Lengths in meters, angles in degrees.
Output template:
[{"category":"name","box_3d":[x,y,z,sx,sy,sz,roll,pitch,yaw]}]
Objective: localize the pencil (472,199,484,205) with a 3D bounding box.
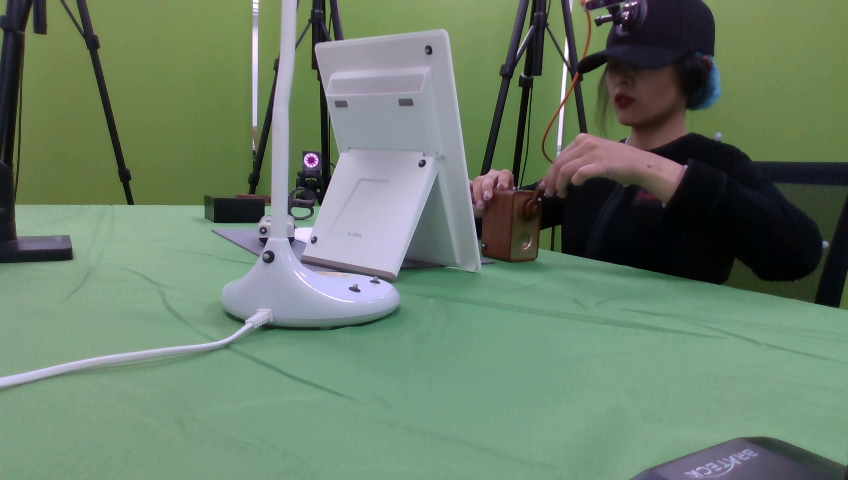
[{"category":"pencil","box_3d":[0.091,-0.061,0.978,0.012,0.012,0.193,-3,8,-34]}]

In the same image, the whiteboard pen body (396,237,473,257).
[{"category":"whiteboard pen body","box_3d":[0.014,0.012,0.886,0.140,0.017,0.017,10,10,38]}]

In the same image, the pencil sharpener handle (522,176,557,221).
[{"category":"pencil sharpener handle","box_3d":[0.169,-0.060,0.868,0.036,0.067,0.030,19,-3,-35]}]

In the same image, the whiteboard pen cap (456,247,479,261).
[{"category":"whiteboard pen cap","box_3d":[0.060,0.020,0.851,0.033,0.018,0.018,10,11,37]}]

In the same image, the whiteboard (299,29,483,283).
[{"category":"whiteboard","box_3d":[-0.074,-0.082,0.742,0.216,0.305,0.144,9,30,38]}]

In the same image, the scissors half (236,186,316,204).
[{"category":"scissors half","box_3d":[-0.320,-0.097,1.316,0.176,0.040,0.013,-3,11,-29]}]

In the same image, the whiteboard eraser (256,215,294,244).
[{"category":"whiteboard eraser","box_3d":[-0.232,-0.016,0.951,0.056,0.042,0.112,2,7,-12]}]

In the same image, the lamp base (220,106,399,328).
[{"category":"lamp base","box_3d":[-0.101,-0.023,0.531,0.160,0.180,0.179,4,10,10]}]

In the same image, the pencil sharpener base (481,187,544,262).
[{"category":"pencil sharpener base","box_3d":[0.134,-0.024,0.913,0.062,0.107,0.076,-2,9,-34]}]

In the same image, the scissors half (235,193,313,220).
[{"category":"scissors half","box_3d":[-0.325,-0.077,1.319,0.176,0.040,0.012,17,6,-32]}]
